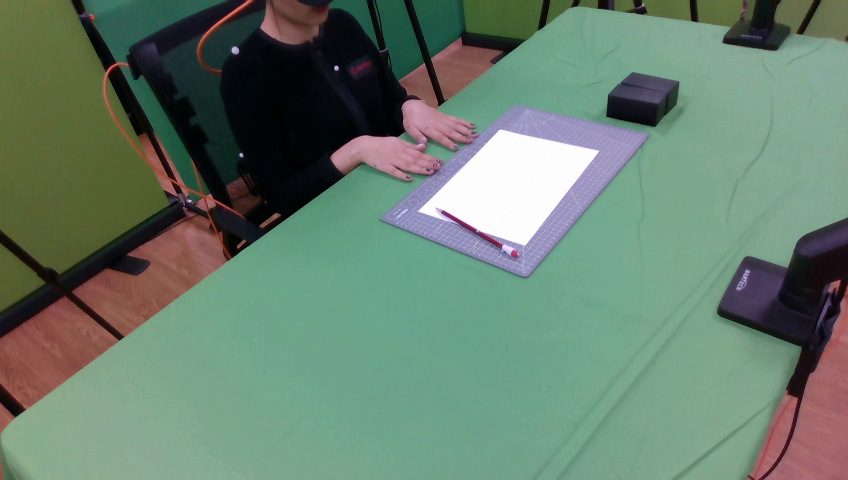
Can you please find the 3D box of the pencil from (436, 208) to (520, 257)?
[{"bbox_3d":[0.083,-0.016,0.990,0.012,0.012,0.192,-34,45,-26],"label":"pencil"}]
